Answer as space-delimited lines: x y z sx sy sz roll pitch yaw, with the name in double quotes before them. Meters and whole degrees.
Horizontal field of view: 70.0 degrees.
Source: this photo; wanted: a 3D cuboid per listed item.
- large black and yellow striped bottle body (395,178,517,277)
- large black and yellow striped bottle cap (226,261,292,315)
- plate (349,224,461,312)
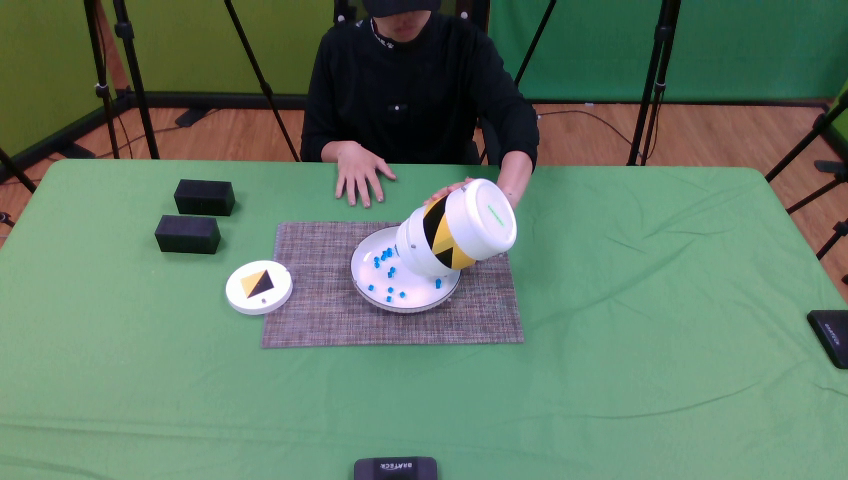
"large black and yellow striped bottle body" 0.052 -0.014 1.045 0.184 0.131 0.130 -25 32 36
"large black and yellow striped bottle cap" -0.298 0.085 1.092 0.115 0.019 0.114 0 45 1
"plate" -0.035 0.054 1.126 0.208 0.039 0.206 2 46 -2
